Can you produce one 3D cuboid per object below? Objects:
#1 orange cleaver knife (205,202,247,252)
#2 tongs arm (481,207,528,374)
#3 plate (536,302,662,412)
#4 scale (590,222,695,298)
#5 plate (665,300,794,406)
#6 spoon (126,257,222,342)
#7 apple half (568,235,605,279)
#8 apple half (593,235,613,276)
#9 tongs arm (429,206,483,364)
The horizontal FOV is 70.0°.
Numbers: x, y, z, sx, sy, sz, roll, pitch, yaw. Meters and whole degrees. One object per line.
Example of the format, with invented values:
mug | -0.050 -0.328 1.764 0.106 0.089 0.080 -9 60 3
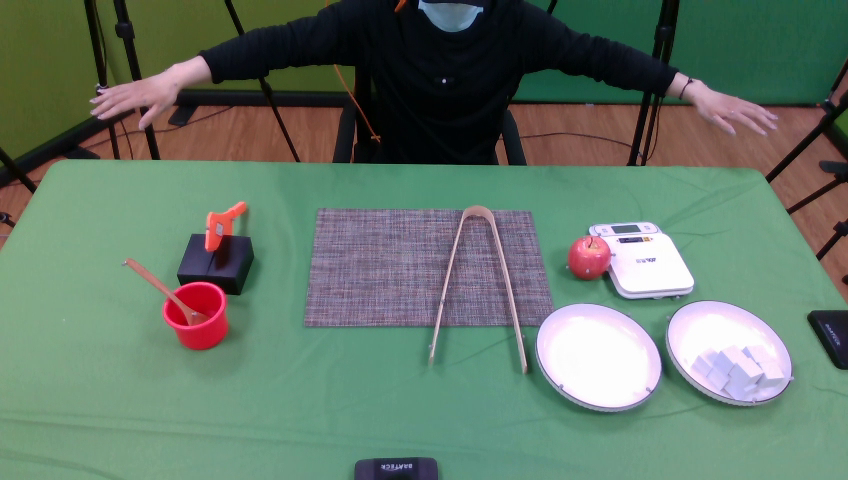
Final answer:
orange cleaver knife | -0.374 -0.029 1.150 0.012 0.077 0.211 4 13 1
tongs arm | 0.149 0.077 1.124 0.028 0.028 0.385 -4 46 -2
plate | 0.288 0.197 1.016 0.209 0.038 0.208 2 46 -2
scale | 0.424 0.031 1.189 0.149 0.032 0.199 -3 46 -7
plate | 0.513 0.194 1.034 0.208 0.039 0.206 2 46 -2
spoon | -0.408 0.096 0.990 0.194 0.021 0.041 50 53 -18
apple half | 0.302 0.035 1.148 0.053 0.075 0.080 -9 51 -8
apple half | 0.340 0.029 1.155 0.033 0.082 0.080 -10 47 -8
tongs arm | 0.064 0.069 1.124 0.051 0.026 0.382 8 45 5
